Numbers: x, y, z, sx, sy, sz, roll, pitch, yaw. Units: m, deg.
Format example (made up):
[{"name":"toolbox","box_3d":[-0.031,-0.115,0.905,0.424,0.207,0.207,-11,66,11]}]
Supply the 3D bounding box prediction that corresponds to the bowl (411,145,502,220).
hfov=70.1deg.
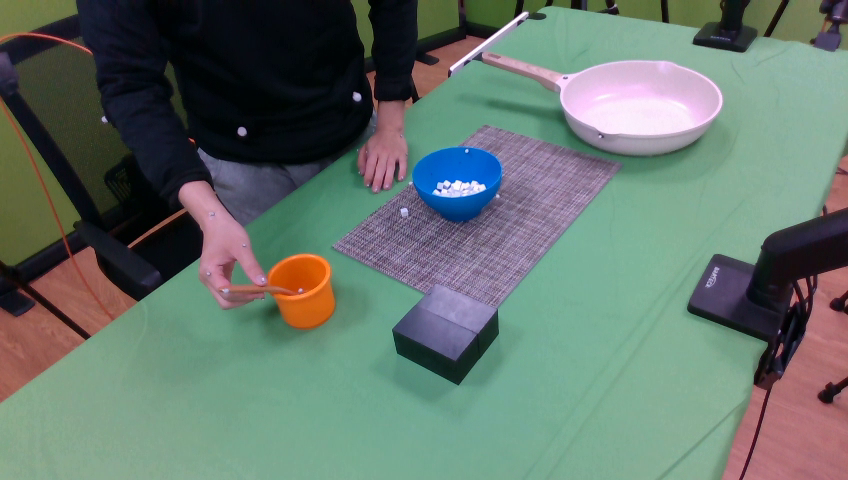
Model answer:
[{"name":"bowl","box_3d":[0.057,-0.086,1.010,0.151,0.077,0.150,-4,40,4]}]

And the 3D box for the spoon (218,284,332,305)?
[{"name":"spoon","box_3d":[-0.197,0.070,0.815,0.041,0.195,0.021,23,92,34]}]

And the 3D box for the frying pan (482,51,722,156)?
[{"name":"frying pan","box_3d":[0.326,-0.298,1.204,0.485,0.103,0.307,28,51,23]}]
